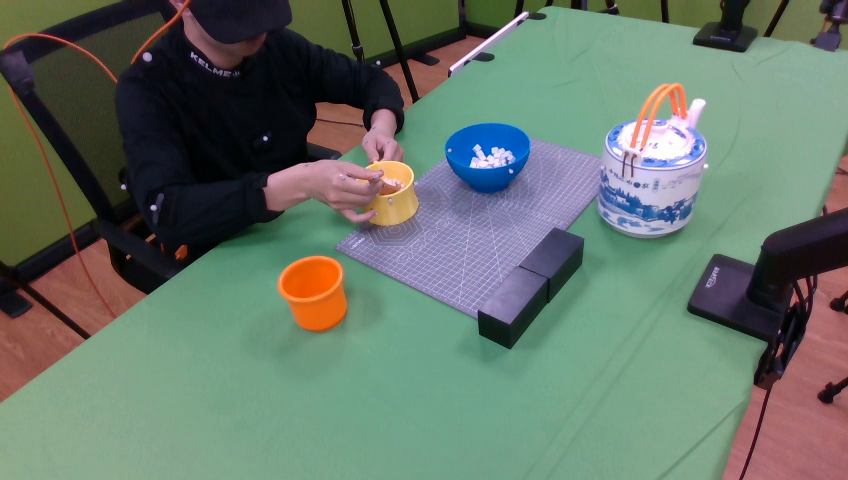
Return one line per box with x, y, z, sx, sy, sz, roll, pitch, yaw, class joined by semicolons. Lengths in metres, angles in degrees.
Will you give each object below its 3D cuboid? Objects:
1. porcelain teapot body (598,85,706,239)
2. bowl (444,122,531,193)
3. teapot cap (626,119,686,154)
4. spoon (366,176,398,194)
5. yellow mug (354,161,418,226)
0.362;-0.137;0.921;0.144;0.226;0.206;29;51;36;porcelain teapot body
0.113;-0.136;1.063;0.151;0.077;0.150;-4;41;4;bowl
0.338;-0.153;0.882;0.085;0.044;0.085;-3;38;3;teapot cap
-0.073;-0.091;0.975;0.041;0.021;0.194;-8;-3;6;spoon
-0.069;-0.090;1.042;0.100;0.064;0.130;-18;44;-10;yellow mug
